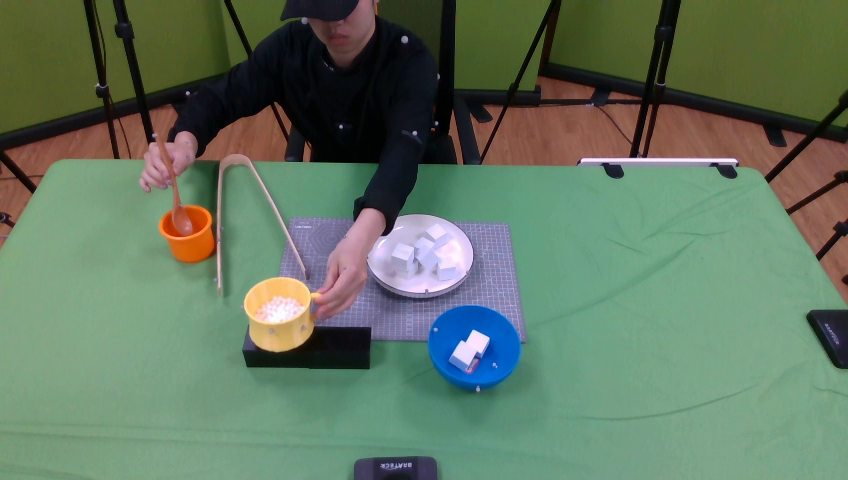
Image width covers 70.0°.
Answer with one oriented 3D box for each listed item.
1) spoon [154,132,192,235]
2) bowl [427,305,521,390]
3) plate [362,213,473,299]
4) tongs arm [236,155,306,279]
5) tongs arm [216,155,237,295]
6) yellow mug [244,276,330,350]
[{"bbox_3d":[-0.452,-0.100,1.090,0.021,0.194,0.041,3,24,17],"label":"spoon"},{"bbox_3d":[0.076,0.188,0.985,0.151,0.077,0.150,3,46,-3],"label":"bowl"},{"bbox_3d":[-0.013,0.034,1.150,0.208,0.039,0.206,2,47,-2],"label":"plate"},{"bbox_3d":[-0.312,-0.058,1.225,0.028,0.028,0.385,-21,51,-19],"label":"tongs arm"},{"bbox_3d":[-0.388,-0.043,1.201,0.051,0.026,0.382,-9,46,-13],"label":"tongs arm"},{"bbox_3d":[-0.212,0.110,0.950,0.131,0.064,0.099,-11,44,-18],"label":"yellow mug"}]
